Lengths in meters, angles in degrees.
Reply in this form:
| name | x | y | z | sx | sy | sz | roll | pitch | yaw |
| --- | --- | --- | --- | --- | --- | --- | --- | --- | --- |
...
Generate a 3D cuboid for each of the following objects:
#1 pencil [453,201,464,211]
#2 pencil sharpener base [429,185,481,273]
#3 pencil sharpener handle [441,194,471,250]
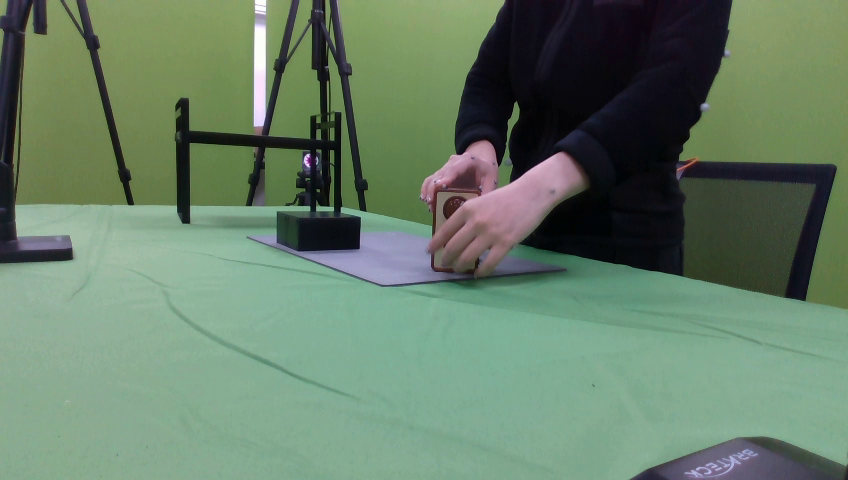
| name | x | y | z | sx | sy | sz | roll | pitch | yaw |
| --- | --- | --- | --- | --- | --- | --- | --- | --- | --- |
| pencil | 0.050 | -0.049 | 0.874 | 0.012 | 0.012 | 0.194 | 3 | 5 | 5 |
| pencil sharpener base | 0.041 | -0.015 | 0.783 | 0.061 | 0.107 | 0.077 | 3 | 8 | 4 |
| pencil sharpener handle | 0.036 | -0.021 | 0.731 | 0.036 | 0.067 | 0.030 | 10 | 8 | 3 |
